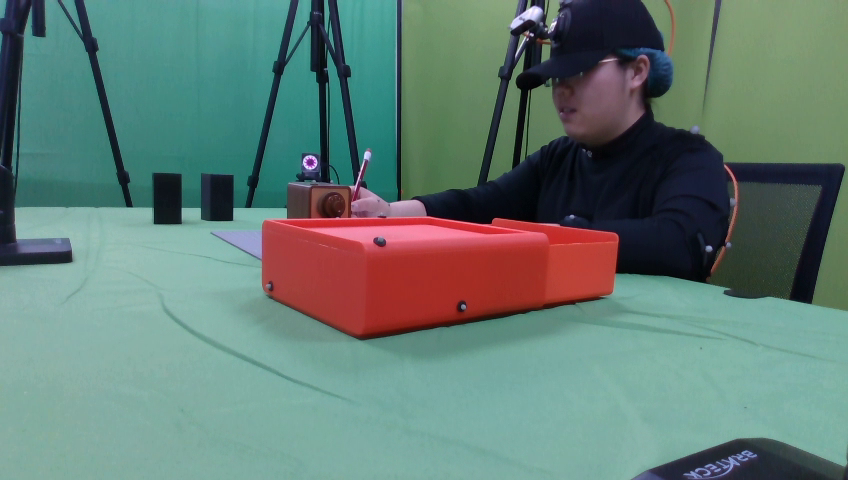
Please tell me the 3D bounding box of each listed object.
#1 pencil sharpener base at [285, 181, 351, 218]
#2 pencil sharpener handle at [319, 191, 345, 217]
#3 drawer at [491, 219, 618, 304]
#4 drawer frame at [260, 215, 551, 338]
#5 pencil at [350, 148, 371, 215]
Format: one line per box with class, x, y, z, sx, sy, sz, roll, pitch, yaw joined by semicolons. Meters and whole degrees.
pencil sharpener base;-0.139;-0.021;0.789;0.062;0.107;0.076;-2;9;-36
pencil sharpener handle;-0.107;-0.026;0.748;0.036;0.067;0.030;-5;11;-36
drawer;0.071;0.021;0.670;0.213;0.073;0.193;-3;10;-39
drawer frame;-0.021;0.023;0.595;0.215;0.082;0.200;-4;10;-38
pencil;-0.116;-0.094;1.054;0.012;0.012;0.194;4;49;9
